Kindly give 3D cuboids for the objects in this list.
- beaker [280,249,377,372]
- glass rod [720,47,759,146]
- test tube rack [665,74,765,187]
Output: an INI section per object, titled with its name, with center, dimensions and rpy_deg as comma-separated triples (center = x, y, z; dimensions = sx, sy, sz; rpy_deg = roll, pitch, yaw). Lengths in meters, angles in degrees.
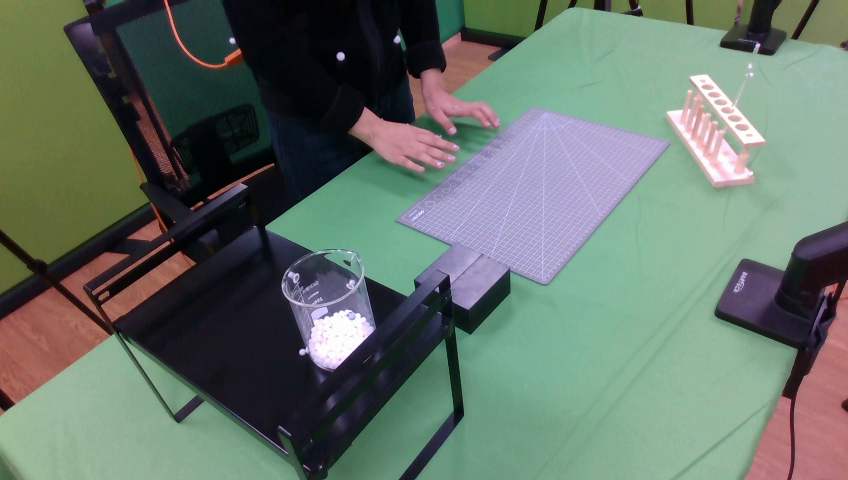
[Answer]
[beaker]
center = -0.084, 0.068, 0.572
dimensions = 0.073, 0.101, 0.084
rpy_deg = 20, 47, 28
[glass rod]
center = 0.527, -0.234, 1.018
dimensions = 0.008, 0.200, 0.008
rpy_deg = -2, 49, 3
[test tube rack]
center = 0.512, -0.201, 1.082
dimensions = 0.067, 0.085, 0.241
rpy_deg = -5, 41, 2
